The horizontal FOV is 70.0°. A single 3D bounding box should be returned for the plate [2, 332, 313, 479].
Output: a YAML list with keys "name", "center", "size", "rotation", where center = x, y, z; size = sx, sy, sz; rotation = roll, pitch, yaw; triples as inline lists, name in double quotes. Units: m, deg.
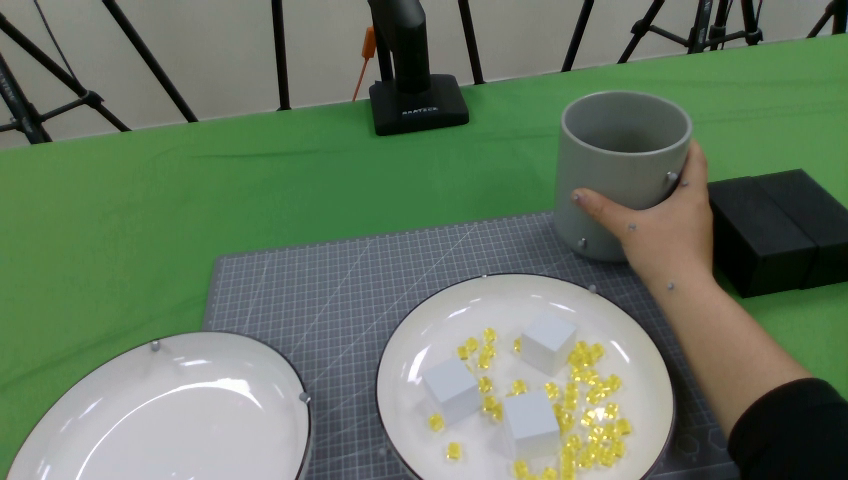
- name: "plate"
  center: [-0.177, 0.154, 0.418]
  size: [0.209, 0.038, 0.207]
  rotation: [-4, 42, 4]

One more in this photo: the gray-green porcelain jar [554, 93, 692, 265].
- name: "gray-green porcelain jar"
  center: [0.172, -0.050, 0.542]
  size: [0.106, 0.128, 0.105]
  rotation: [-3, 41, 3]

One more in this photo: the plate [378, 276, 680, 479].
- name: "plate"
  center: [0.072, 0.111, 0.439]
  size: [0.207, 0.039, 0.205]
  rotation: [-3, 41, 3]
